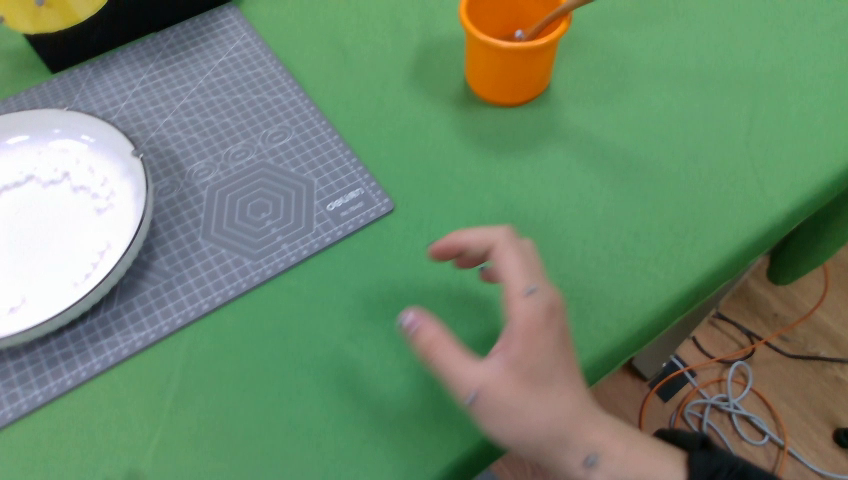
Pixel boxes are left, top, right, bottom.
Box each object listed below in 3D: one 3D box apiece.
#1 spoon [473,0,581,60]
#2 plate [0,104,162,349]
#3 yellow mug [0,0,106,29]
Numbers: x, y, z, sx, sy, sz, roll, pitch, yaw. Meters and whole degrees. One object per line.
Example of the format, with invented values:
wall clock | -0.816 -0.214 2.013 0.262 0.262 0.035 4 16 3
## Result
spoon | 0.113 -0.185 0.482 0.022 0.193 0.041 41 58 -26
plate | -0.297 -0.011 0.453 0.208 0.039 0.206 0 60 1
yellow mug | -0.341 -0.242 0.515 0.130 0.064 0.099 13 61 11
